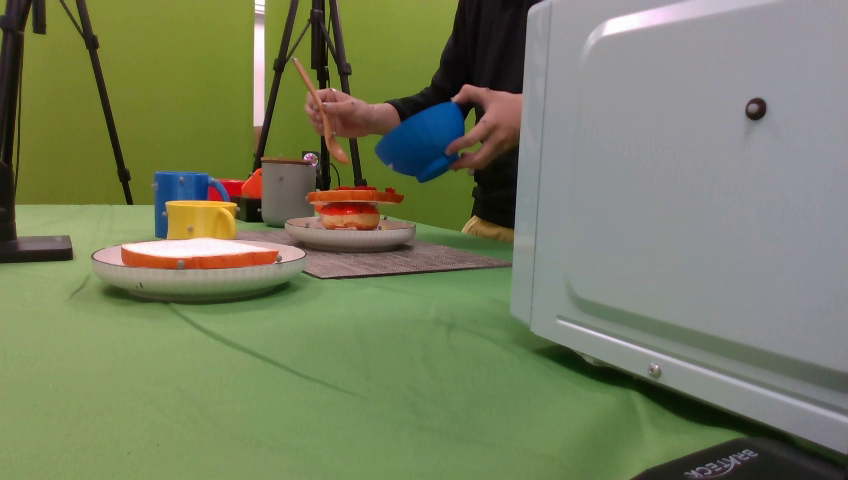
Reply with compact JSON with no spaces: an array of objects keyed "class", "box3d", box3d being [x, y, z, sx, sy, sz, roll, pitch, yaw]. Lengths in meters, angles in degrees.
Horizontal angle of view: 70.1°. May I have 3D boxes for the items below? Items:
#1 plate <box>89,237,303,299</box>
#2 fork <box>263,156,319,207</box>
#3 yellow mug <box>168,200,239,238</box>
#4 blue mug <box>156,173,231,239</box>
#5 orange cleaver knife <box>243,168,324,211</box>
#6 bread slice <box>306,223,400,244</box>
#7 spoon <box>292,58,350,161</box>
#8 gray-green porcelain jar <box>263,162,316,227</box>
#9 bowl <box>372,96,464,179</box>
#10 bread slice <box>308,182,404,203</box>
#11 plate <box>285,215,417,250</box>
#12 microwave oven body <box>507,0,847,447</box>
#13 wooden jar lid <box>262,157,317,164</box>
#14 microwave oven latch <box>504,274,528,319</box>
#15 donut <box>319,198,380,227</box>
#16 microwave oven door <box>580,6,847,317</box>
[{"class":"plate","box3d":[-0.233,0.029,0.637,0.208,0.039,0.207,2,7,0]},{"class":"fork","box3d":[-0.331,-0.144,1.505,0.207,0.018,0.028,-42,-21,22]},{"class":"yellow mug","box3d":[-0.320,-0.023,0.904,0.130,0.064,0.100,9,11,36]},{"class":"blue mug","box3d":[-0.381,-0.057,1.004,0.117,0.106,0.082,0,8,-12]},{"class":"orange cleaver knife","box3d":[-0.300,-0.089,1.352,0.212,0.077,0.012,28,-9,-34]},{"class":"bread slice","box3d":[-0.103,-0.011,0.961,0.131,0.019,0.105,5,9,24]},{"class":"spoon","box3d":[-0.172,-0.217,1.006,0.021,0.193,0.042,-23,1,25]},{"class":"gray-green porcelain jar","box3d":[-0.271,-0.092,1.217,0.106,0.126,0.106,2,7,0]},{"class":"bowl","box3d":[0.005,-0.145,0.928,0.151,0.076,0.151,-29,-5,-3]},{"class":"bread slice","box3d":[-0.114,-0.073,0.953,0.134,0.018,0.107,-4,-2,21]},{"class":"plate","box3d":[-0.116,-0.014,0.964,0.209,0.038,0.209,2,7,0]},{"class":"microwave oven body","box3d":[0.331,-0.042,0.425,0.444,0.260,0.324,-2,8,-31]},{"class":"wooden jar lid","box3d":[-0.269,-0.154,1.208,0.108,0.020,0.108,3,5,0]},{"class":"microwave oven latch","box3d":[0.100,0.041,0.471,0.079,0.029,0.030,-1,7,-28]},{"class":"donut","box3d":[-0.119,-0.040,0.967,0.099,0.048,0.099,-6,-7,0]},{"class":"microwave oven door","box3d":[0.295,-0.067,0.570,0.358,0.243,0.039,-3,9,-31]}]
